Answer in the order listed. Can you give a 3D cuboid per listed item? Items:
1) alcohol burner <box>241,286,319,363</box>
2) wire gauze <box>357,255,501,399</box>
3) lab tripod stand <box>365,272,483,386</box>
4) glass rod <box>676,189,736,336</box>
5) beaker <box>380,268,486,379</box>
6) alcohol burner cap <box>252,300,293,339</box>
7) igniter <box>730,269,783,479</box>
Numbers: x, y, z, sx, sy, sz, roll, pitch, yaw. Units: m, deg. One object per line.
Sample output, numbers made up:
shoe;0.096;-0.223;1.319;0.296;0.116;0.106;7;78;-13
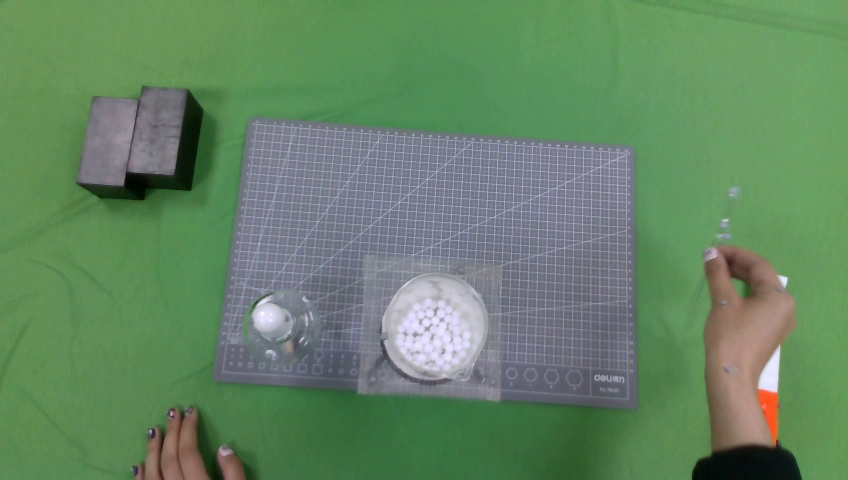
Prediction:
alcohol burner;-0.144;0.081;0.598;0.078;0.119;0.077;1;75;-2
wire gauze;0.005;0.073;0.527;0.125;0.011;0.121;3;75;1
lab tripod stand;0.002;0.091;0.591;0.148;0.132;0.147;0;76;0
glass rod;0.270;0.030;0.587;0.008;0.201;0.008;-2;43;2
beaker;0.008;0.072;0.478;0.074;0.100;0.083;-28;78;-8
alcohol burner cap;-0.143;0.073;0.563;0.034;0.048;0.033;0;72;0
igniter;0.355;0.166;0.645;0.057;0.025;0.275;14;77;-10
